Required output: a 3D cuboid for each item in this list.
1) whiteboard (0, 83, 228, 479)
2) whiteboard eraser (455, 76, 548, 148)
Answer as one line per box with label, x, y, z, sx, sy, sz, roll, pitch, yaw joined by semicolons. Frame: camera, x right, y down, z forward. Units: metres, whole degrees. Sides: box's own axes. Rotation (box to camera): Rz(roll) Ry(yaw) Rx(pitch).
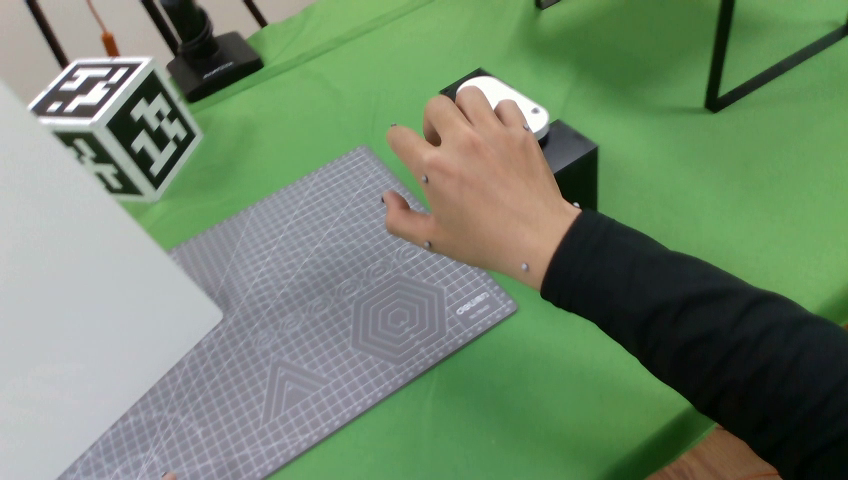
whiteboard;-0.364;0.030;0.504;0.142;0.308;0.216;13;53;49
whiteboard eraser;0.066;-0.114;0.528;0.041;0.019;0.100;-33;51;-15
